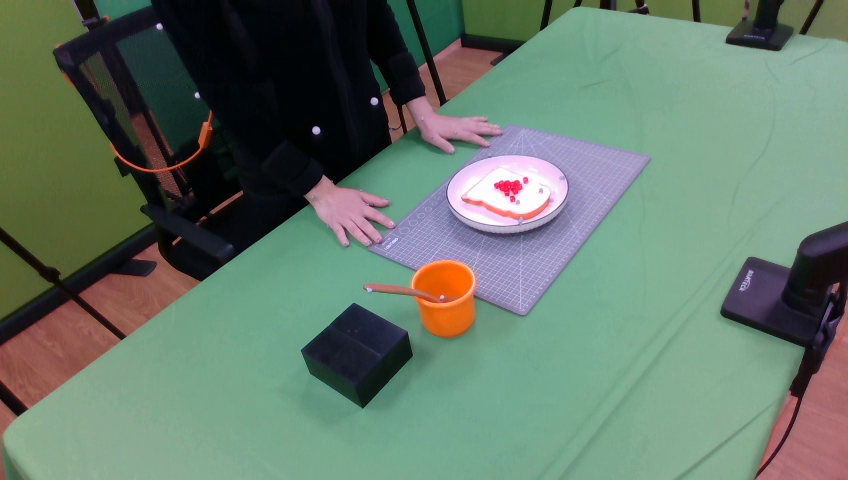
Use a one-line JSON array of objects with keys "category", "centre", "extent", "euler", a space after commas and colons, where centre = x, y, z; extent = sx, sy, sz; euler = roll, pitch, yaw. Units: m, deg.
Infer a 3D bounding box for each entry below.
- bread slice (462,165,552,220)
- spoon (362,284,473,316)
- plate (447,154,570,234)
[{"category": "bread slice", "centre": [0.149, -0.079, 1.036], "extent": [0.133, 0.018, 0.107], "euler": [22, 50, 31]}, {"category": "spoon", "centre": [-0.005, 0.075, 0.800], "extent": [0.021, 0.195, 0.041], "euler": [-55, 45, 16]}, {"category": "plate", "centre": [0.143, -0.076, 1.032], "extent": [0.209, 0.038, 0.208], "euler": [-5, 40, 5]}]
